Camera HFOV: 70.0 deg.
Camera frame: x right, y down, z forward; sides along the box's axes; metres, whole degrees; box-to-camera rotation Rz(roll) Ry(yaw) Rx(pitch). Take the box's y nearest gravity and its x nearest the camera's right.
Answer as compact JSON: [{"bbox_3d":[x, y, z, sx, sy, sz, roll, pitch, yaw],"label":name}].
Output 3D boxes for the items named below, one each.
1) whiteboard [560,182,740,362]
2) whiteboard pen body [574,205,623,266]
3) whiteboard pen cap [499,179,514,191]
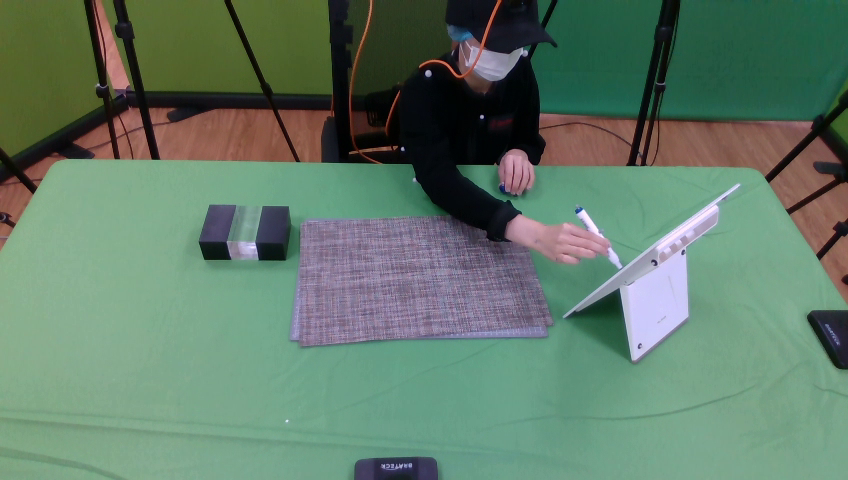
[{"bbox_3d":[0.406,0.075,1.001,0.217,0.306,0.143,-28,73,-28],"label":"whiteboard"},{"bbox_3d":[0.309,-0.003,1.059,0.141,0.017,0.017,51,54,-7],"label":"whiteboard pen body"},{"bbox_3d":[0.177,-0.120,1.317,0.033,0.018,0.018,-33,56,-21],"label":"whiteboard pen cap"}]
